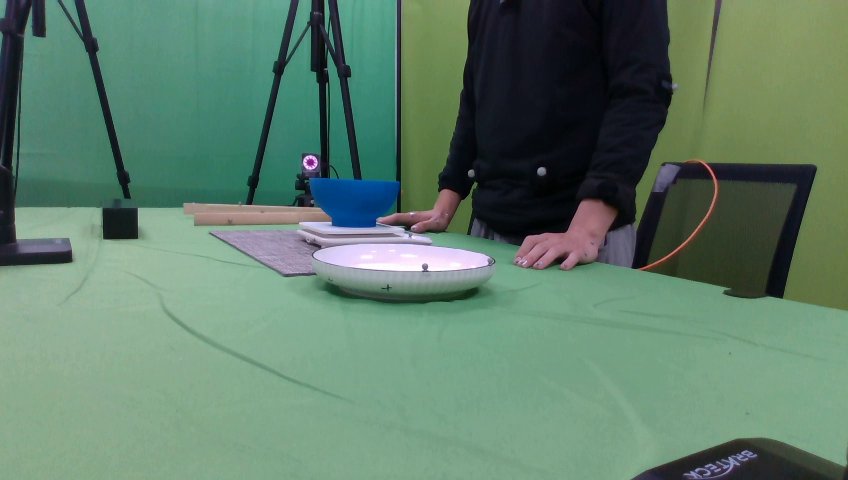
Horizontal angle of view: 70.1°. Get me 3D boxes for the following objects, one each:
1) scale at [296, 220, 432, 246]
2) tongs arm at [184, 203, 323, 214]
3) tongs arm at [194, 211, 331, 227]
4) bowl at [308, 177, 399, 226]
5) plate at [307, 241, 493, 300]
[{"bbox_3d":[-0.101,-0.012,1.017,0.202,0.031,0.148,-1,8,-30],"label":"scale"},{"bbox_3d":[-0.337,-0.065,1.377,0.387,0.026,0.050,0,10,-25],"label":"tongs arm"},{"bbox_3d":[-0.298,-0.049,1.308,0.390,0.028,0.028,-4,8,-38],"label":"tongs arm"},{"bbox_3d":[-0.117,-0.064,1.001,0.151,0.077,0.151,2,6,0],"label":"bowl"},{"bbox_3d":[-0.027,0.034,0.684,0.208,0.039,0.207,2,7,0],"label":"plate"}]
